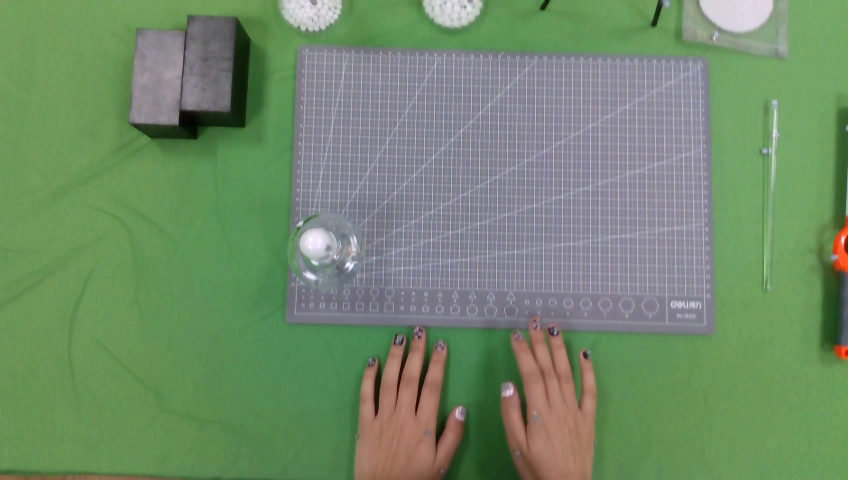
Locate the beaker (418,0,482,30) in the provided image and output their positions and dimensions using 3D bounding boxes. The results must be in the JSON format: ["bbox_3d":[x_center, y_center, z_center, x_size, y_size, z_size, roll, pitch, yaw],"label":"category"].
[{"bbox_3d":[0.031,-0.271,0.625,0.084,0.100,0.074,-37,86,-5],"label":"beaker"}]

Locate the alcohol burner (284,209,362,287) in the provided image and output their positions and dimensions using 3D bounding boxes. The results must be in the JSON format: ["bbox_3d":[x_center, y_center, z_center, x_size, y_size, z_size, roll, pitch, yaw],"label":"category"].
[{"bbox_3d":[-0.100,0.006,0.584,0.078,0.119,0.077,0,83,1],"label":"alcohol burner"}]

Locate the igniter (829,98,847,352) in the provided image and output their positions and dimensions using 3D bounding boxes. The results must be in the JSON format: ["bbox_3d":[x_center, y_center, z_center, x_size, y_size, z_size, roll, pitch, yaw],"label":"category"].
[{"bbox_3d":[0.458,-0.018,0.643,0.057,0.025,0.276,8,84,-11],"label":"igniter"}]

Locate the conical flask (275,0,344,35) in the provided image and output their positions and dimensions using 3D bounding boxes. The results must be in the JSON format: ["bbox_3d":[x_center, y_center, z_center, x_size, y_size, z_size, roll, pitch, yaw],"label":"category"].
[{"bbox_3d":[-0.125,-0.267,0.610,0.075,0.122,0.075,0,83,0],"label":"conical flask"}]

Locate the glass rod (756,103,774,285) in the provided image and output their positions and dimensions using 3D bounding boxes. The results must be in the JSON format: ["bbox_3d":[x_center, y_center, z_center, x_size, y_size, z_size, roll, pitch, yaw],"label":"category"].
[{"bbox_3d":[0.368,-0.050,0.654,0.008,0.008,0.199,6,87,-1],"label":"glass rod"}]

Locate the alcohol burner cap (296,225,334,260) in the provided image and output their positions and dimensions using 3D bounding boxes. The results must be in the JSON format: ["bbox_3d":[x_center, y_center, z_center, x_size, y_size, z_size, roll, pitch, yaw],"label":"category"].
[{"bbox_3d":[-0.100,0.001,0.549,0.034,0.048,0.034,0,87,-4],"label":"alcohol burner cap"}]

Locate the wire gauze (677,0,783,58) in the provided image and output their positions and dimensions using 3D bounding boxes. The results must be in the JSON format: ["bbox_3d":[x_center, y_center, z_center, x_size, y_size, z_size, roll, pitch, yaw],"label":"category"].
[{"bbox_3d":[0.345,-0.271,0.677,0.125,0.011,0.121,7,85,-2],"label":"wire gauze"}]

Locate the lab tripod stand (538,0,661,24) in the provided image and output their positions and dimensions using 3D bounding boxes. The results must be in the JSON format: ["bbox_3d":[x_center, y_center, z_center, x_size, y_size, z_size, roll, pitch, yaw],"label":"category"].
[{"bbox_3d":[0.195,-0.290,0.613,0.148,0.131,0.148,0,86,0],"label":"lab tripod stand"}]
